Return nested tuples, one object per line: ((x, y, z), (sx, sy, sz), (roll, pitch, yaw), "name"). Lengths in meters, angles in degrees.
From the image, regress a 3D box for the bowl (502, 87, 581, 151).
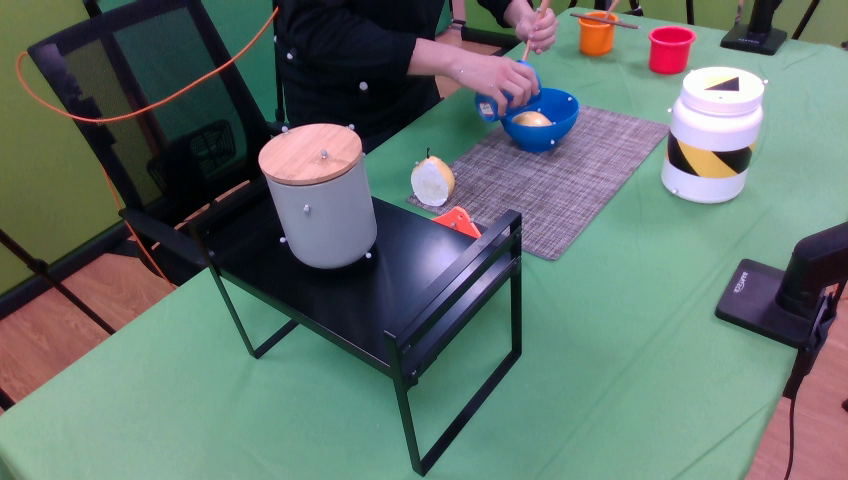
((0.220, -0.223, 1.156), (0.151, 0.077, 0.150), (-4, 40, 4), "bowl")

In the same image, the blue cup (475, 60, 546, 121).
((0.148, -0.262, 1.088), (0.100, 0.093, 0.092), (-33, 46, -20), "blue cup")

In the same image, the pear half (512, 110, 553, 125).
((0.212, -0.228, 1.152), (0.088, 0.031, 0.070), (8, 47, 10), "pear half")

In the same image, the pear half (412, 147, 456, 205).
((0.019, -0.120, 1.042), (0.076, 0.110, 0.056), (11, 44, 16), "pear half")

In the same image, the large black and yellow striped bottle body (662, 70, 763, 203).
((0.464, -0.166, 0.976), (0.131, 0.185, 0.130), (-5, 41, 5), "large black and yellow striped bottle body")

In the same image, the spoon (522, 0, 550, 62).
((0.186, -0.339, 1.083), (0.041, 0.193, 0.021), (18, 13, -1), "spoon")

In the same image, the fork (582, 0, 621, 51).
((0.446, -0.539, 1.438), (0.207, 0.019, 0.028), (-57, 36, 12), "fork")

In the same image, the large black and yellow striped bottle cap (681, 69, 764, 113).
((0.453, -0.229, 0.921), (0.115, 0.019, 0.114), (-4, 39, 4), "large black and yellow striped bottle cap")

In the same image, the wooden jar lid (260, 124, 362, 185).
((-0.119, -0.088, 0.645), (0.108, 0.021, 0.108), (-4, 40, 4), "wooden jar lid")

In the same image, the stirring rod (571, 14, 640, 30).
((0.419, -0.508, 1.404), (0.174, 0.006, 0.014), (28, 55, 35), "stirring rod")

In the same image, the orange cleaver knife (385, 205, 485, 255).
((0.012, -0.010, 0.942), (0.012, 0.077, 0.210), (-36, 19, -35), "orange cleaver knife")

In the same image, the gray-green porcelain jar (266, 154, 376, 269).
((-0.112, -0.039, 0.686), (0.106, 0.127, 0.105), (-4, 40, 4), "gray-green porcelain jar")
